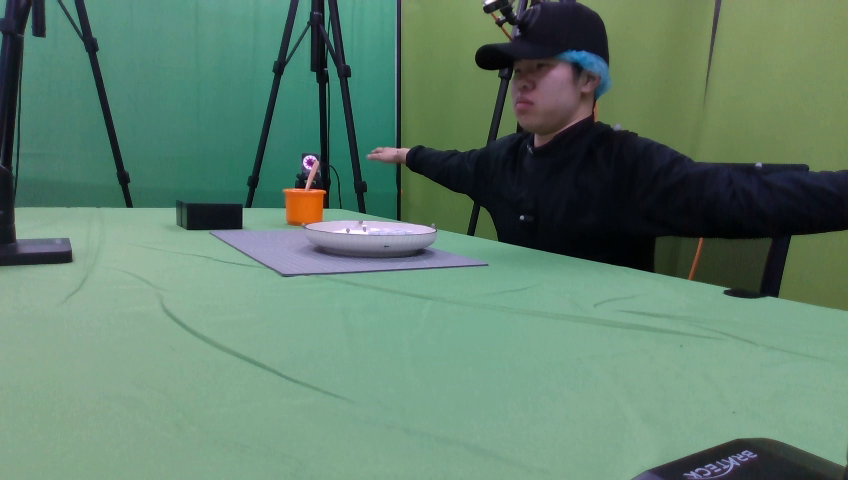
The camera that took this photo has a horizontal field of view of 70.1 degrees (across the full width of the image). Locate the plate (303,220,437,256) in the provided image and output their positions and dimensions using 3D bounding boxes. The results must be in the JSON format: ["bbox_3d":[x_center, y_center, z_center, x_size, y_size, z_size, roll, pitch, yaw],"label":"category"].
[{"bbox_3d":[-0.084,-0.003,0.951,0.209,0.038,0.209,3,7,0],"label":"plate"}]

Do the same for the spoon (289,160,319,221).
[{"bbox_3d":[-0.259,-0.112,1.339,0.041,0.193,0.022,1,-37,11],"label":"spoon"}]

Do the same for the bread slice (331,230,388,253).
[{"bbox_3d":[-0.088,0.000,0.947,0.105,0.019,0.131,-4,11,-44],"label":"bread slice"}]
